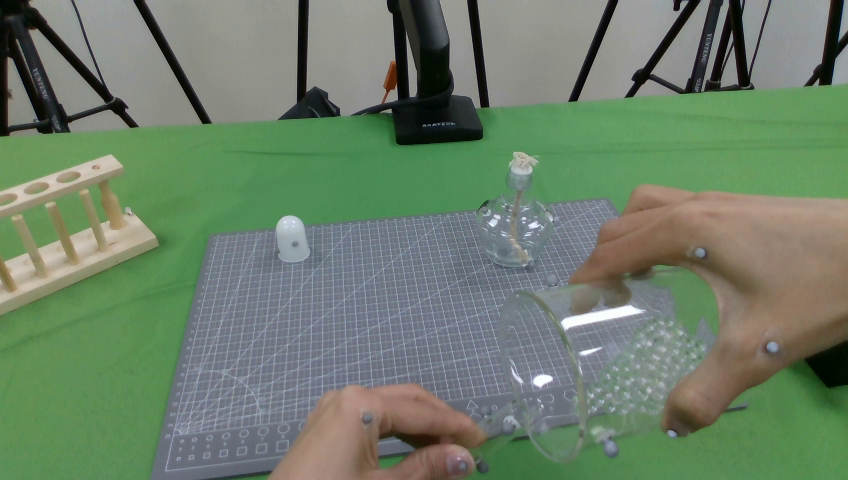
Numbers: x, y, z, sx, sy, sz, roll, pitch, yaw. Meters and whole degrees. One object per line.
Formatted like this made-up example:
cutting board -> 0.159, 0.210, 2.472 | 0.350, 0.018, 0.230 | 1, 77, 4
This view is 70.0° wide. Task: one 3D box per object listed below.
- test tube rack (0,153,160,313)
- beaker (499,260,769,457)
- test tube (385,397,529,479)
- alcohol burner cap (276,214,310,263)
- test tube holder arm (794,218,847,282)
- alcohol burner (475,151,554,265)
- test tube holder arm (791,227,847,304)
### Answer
test tube rack -> -0.392, 0.007, 0.574 | 0.242, 0.086, 0.066 | -29, 46, -32
beaker -> 0.094, 0.052, 0.279 | 0.100, 0.084, 0.073 | -9, 52, -15
test tube -> -0.003, 0.127, 0.327 | 0.017, 0.150, 0.017 | 37, 27, -23
alcohol burner cap -> -0.135, -0.004, 0.614 | 0.034, 0.048, 0.033 | -1, 38, 1
test tube holder arm -> 0.347, 0.010, 0.522 | 0.015, 0.010, 0.087 | 1, 38, 1
alcohol burner -> 0.090, -0.034, 0.590 | 0.078, 0.120, 0.077 | 1, 38, 0
test tube holder arm -> 0.346, 0.042, 0.490 | 0.015, 0.013, 0.176 | 1, 38, 1
